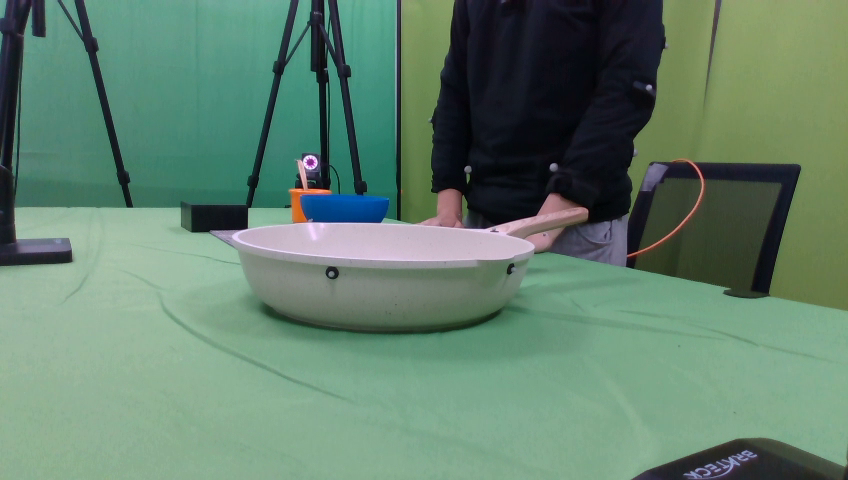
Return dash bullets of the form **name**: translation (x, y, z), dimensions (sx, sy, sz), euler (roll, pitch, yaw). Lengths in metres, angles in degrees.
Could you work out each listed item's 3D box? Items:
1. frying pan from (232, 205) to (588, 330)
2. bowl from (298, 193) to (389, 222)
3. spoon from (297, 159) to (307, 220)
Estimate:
- **frying pan**: translation (0.039, 0.005, 0.670), dimensions (0.490, 0.102, 0.305), euler (-15, 17, -40)
- **bowl**: translation (-0.136, -0.037, 1.017), dimensions (0.151, 0.077, 0.151), euler (2, 7, 0)
- **spoon**: translation (-0.264, -0.114, 1.338), dimensions (0.042, 0.193, 0.021), euler (0, -37, -21)
